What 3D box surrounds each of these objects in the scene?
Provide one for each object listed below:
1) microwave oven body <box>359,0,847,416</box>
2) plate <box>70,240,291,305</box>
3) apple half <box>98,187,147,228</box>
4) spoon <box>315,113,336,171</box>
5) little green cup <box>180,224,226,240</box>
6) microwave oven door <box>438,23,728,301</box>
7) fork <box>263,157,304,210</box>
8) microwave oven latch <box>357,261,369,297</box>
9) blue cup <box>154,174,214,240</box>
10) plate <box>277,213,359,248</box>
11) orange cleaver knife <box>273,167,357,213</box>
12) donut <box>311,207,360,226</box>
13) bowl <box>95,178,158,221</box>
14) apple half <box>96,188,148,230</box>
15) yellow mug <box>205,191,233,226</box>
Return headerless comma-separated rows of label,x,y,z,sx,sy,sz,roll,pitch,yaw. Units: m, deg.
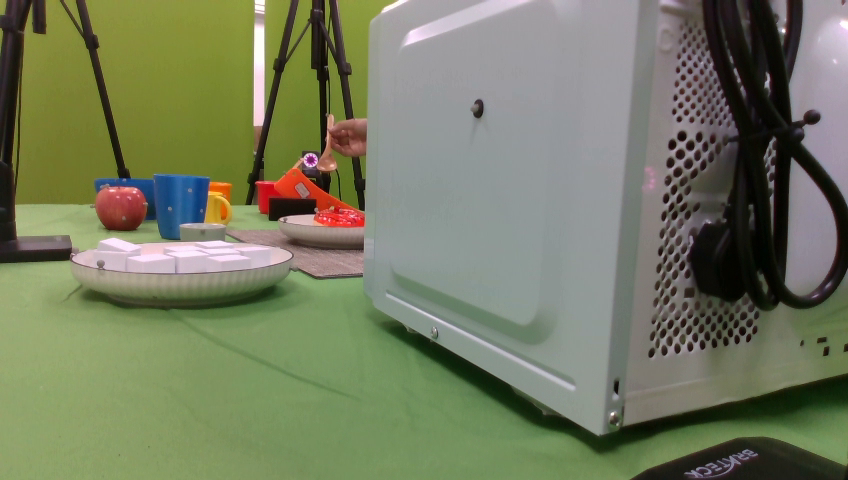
microwave oven body,0.211,-0.047,0.474,0.444,0.260,0.324,-1,7,-28
plate,-0.242,0.031,0.618,0.208,0.039,0.207,2,8,0
apple half,-0.534,-0.059,1.071,0.082,0.081,0.032,-1,10,-25
spoon,-0.204,-0.211,1.287,0.042,0.021,0.193,1,52,-4
little green cup,-0.309,-0.001,0.846,0.061,0.038,0.061,2,8,0
microwave oven door,0.181,-0.072,0.621,0.358,0.243,0.039,-2,8,-29
fork,-0.345,-0.143,1.505,0.028,0.019,0.207,-5,45,28
microwave oven latch,-0.019,0.033,0.531,0.079,0.029,0.030,-1,7,-27
blue cup,-0.391,-0.054,0.978,0.093,0.100,0.092,4,6,0
plate,-0.135,-0.017,0.992,0.209,0.038,0.209,2,8,0
orange cleaver knife,-0.238,-0.091,1.381,0.212,0.077,0.012,31,0,-19
donut,-0.137,-0.029,0.995,0.099,0.048,0.099,4,9,0
bowl,-0.576,-0.081,1.217,0.151,0.077,0.151,3,8,0
apple half,-0.517,-0.052,1.036,0.081,0.074,0.053,3,10,-26
yellow mug,-0.415,-0.057,1.131,0.130,0.064,0.100,5,7,16
